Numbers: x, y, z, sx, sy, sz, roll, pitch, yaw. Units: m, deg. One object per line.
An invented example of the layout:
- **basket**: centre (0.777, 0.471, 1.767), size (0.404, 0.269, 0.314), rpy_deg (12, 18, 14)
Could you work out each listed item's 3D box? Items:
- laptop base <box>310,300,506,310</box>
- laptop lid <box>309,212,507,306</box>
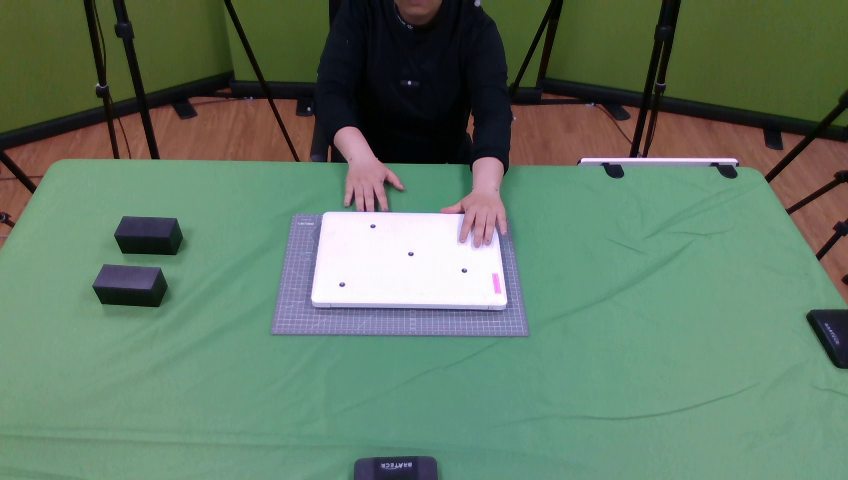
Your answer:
- **laptop base**: centre (-0.029, 0.043, 1.155), size (0.354, 0.023, 0.234), rpy_deg (1, 43, -3)
- **laptop lid**: centre (-0.028, 0.030, 1.146), size (0.357, 0.013, 0.240), rpy_deg (3, 46, -2)
